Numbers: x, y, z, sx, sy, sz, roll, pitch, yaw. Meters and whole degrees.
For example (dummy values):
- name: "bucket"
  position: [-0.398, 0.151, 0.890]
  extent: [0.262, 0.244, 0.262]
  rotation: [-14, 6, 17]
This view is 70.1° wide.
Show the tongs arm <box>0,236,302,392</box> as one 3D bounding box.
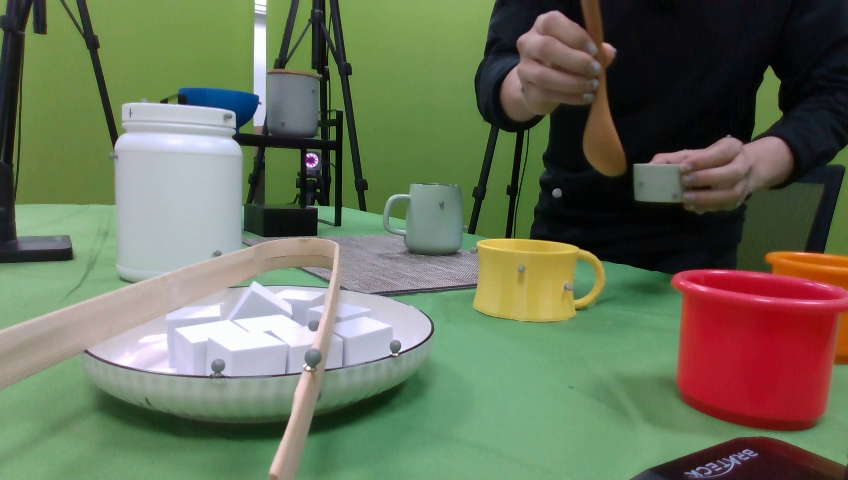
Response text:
- name: "tongs arm"
  position: [-0.157, 0.038, 0.347]
  extent: [0.028, 0.028, 0.388]
  rotation: [-2, 8, 11]

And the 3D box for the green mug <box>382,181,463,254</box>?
- name: "green mug"
  position: [-0.001, -0.036, 0.922]
  extent: [0.126, 0.105, 0.092]
  rotation: [0, 8, -16]

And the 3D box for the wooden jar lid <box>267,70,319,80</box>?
- name: "wooden jar lid"
  position: [-0.275, -0.339, 1.271]
  extent: [0.108, 0.020, 0.108]
  rotation: [5, 6, 0]

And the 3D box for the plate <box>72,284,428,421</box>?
- name: "plate"
  position: [-0.102, 0.067, 0.381]
  extent: [0.208, 0.039, 0.207]
  rotation: [3, 7, 0]

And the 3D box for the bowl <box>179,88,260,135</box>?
- name: "bowl"
  position: [-0.400, -0.248, 1.188]
  extent: [0.151, 0.077, 0.151]
  rotation: [3, 6, 0]

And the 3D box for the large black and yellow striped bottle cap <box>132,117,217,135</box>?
- name: "large black and yellow striped bottle cap"
  position: [-0.359, -0.164, 0.875]
  extent: [0.115, 0.019, 0.115]
  rotation: [2, 6, 0]

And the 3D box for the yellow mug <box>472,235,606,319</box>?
- name: "yellow mug"
  position: [0.114, 0.034, 0.590]
  extent: [0.131, 0.064, 0.100]
  rotation: [2, 7, -7]

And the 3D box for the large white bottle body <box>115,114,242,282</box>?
- name: "large white bottle body"
  position: [-0.270, -0.051, 0.673]
  extent: [0.131, 0.184, 0.130]
  rotation: [2, 8, 0]

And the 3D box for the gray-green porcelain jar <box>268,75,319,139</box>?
- name: "gray-green porcelain jar"
  position: [-0.277, -0.279, 1.280]
  extent: [0.106, 0.126, 0.106]
  rotation: [2, 8, 0]

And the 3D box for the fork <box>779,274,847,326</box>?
- name: "fork"
  position: [0.332, 0.018, 0.443]
  extent: [0.028, 0.018, 0.207]
  rotation: [-3, -35, -16]

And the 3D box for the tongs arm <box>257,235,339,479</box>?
- name: "tongs arm"
  position: [-0.074, 0.040, 0.345]
  extent: [0.051, 0.026, 0.384]
  rotation: [-1, 10, -3]

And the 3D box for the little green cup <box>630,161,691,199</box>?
- name: "little green cup"
  position: [0.248, -0.064, 0.638]
  extent: [0.061, 0.038, 0.061]
  rotation: [1, 8, 0]

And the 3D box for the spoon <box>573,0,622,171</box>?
- name: "spoon"
  position: [0.135, -0.142, 0.493]
  extent: [0.022, 0.194, 0.041]
  rotation: [-28, 28, -24]

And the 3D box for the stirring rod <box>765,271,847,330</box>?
- name: "stirring rod"
  position: [0.352, 0.020, 0.481]
  extent: [0.176, 0.006, 0.014]
  rotation: [-40, -7, 17]

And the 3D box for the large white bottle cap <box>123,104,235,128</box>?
- name: "large white bottle cap"
  position: [-0.266, -0.135, 0.663]
  extent: [0.115, 0.018, 0.115]
  rotation: [3, 8, 0]

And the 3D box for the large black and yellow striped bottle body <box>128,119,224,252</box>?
- name: "large black and yellow striped bottle body"
  position: [-0.361, -0.081, 0.887]
  extent: [0.131, 0.184, 0.130]
  rotation: [2, 8, 0]
